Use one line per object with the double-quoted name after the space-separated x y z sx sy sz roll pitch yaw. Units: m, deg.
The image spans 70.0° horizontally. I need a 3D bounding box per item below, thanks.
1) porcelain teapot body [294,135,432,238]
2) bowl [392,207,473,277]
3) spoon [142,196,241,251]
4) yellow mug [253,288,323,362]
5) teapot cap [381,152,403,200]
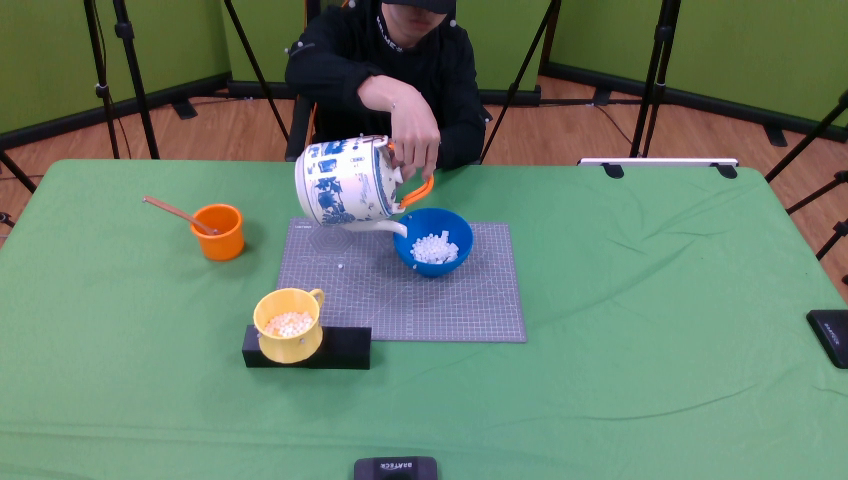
-0.092 -0.083 1.064 0.225 0.206 0.144 -8 37 7 "porcelain teapot body"
0.014 0.016 1.140 0.151 0.077 0.150 2 47 -2 "bowl"
-0.421 -0.032 1.108 0.021 0.195 0.041 -32 39 27 "spoon"
-0.205 0.124 0.963 0.099 0.064 0.130 27 48 21 "yellow mug"
-0.058 -0.110 1.041 0.044 0.085 0.084 -7 46 4 "teapot cap"
